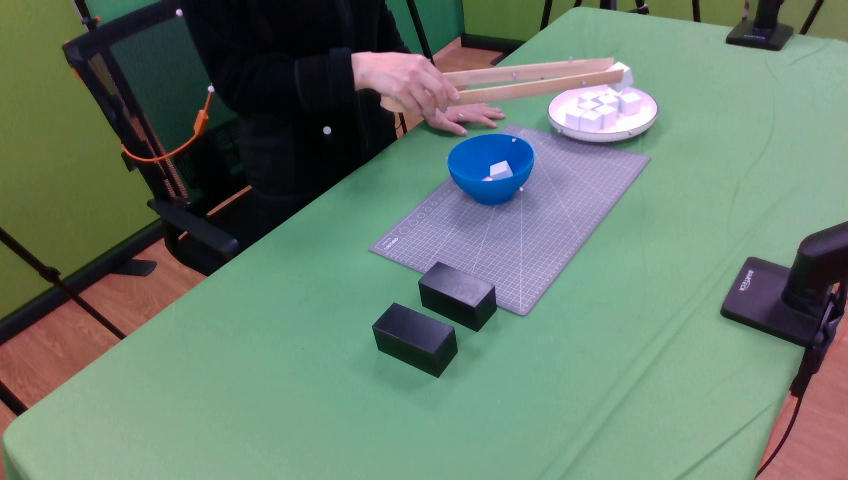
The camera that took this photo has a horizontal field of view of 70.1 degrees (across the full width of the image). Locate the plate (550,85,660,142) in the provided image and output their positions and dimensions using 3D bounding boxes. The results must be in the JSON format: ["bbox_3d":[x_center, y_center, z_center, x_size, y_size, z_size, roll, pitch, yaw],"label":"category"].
[{"bbox_3d":[0.355,-0.247,1.195,0.207,0.039,0.206,-5,39,5],"label":"plate"}]

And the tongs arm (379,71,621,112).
[{"bbox_3d":[0.124,-0.235,0.951,0.388,0.028,0.028,-8,52,-6],"label":"tongs arm"}]

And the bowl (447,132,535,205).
[{"bbox_3d":[0.119,-0.115,1.051,0.151,0.077,0.150,-6,40,5],"label":"bowl"}]

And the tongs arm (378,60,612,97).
[{"bbox_3d":[0.119,-0.253,0.968,0.385,0.026,0.050,-5,48,-4],"label":"tongs arm"}]
